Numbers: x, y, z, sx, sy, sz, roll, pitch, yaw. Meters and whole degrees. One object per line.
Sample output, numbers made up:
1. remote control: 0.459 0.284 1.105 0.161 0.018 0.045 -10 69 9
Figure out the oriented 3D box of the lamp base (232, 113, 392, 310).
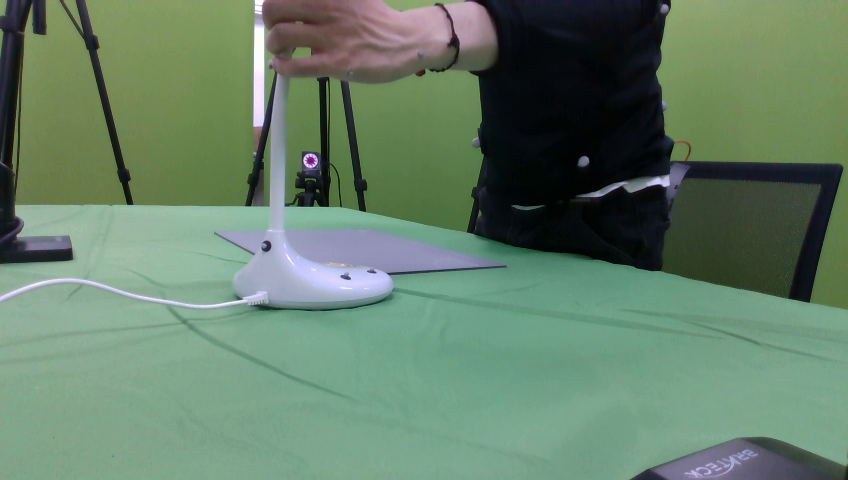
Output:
1. lamp base: -0.113 -0.031 0.594 0.160 0.180 0.179 5 10 18
